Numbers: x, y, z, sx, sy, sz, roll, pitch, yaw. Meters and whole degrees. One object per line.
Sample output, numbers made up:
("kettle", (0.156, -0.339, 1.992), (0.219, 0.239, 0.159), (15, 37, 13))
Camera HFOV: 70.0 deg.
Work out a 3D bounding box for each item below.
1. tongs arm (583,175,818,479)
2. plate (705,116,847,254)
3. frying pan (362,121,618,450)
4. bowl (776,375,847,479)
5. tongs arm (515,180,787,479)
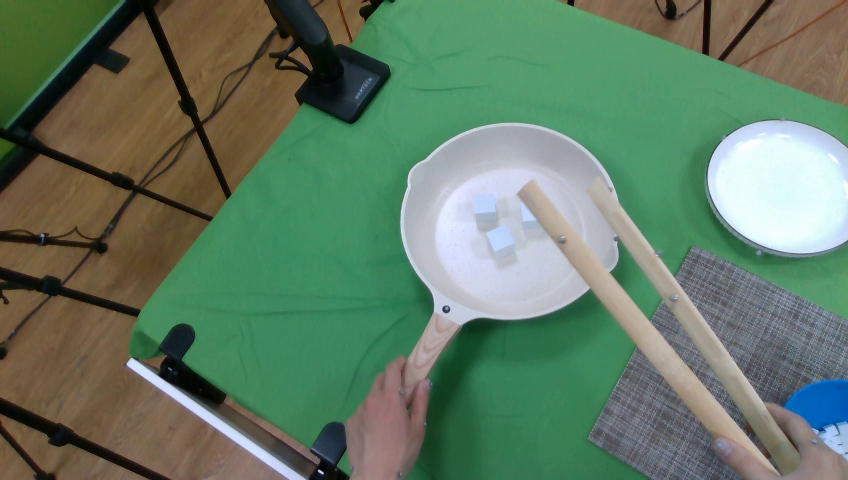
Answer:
("tongs arm", (0.268, 0.083, 0.628), (0.026, 0.051, 0.381), (-48, 61, 36))
("plate", (0.490, -0.073, 0.825), (0.207, 0.039, 0.206), (-3, 67, 7))
("frying pan", (0.060, 0.053, 0.792), (0.305, 0.103, 0.486), (27, 65, 18))
("bowl", (0.457, 0.233, 0.673), (0.151, 0.077, 0.150), (-3, 67, 7))
("tongs arm", (0.215, 0.091, 0.575), (0.385, 0.028, 0.028), (52, 124, 15))
